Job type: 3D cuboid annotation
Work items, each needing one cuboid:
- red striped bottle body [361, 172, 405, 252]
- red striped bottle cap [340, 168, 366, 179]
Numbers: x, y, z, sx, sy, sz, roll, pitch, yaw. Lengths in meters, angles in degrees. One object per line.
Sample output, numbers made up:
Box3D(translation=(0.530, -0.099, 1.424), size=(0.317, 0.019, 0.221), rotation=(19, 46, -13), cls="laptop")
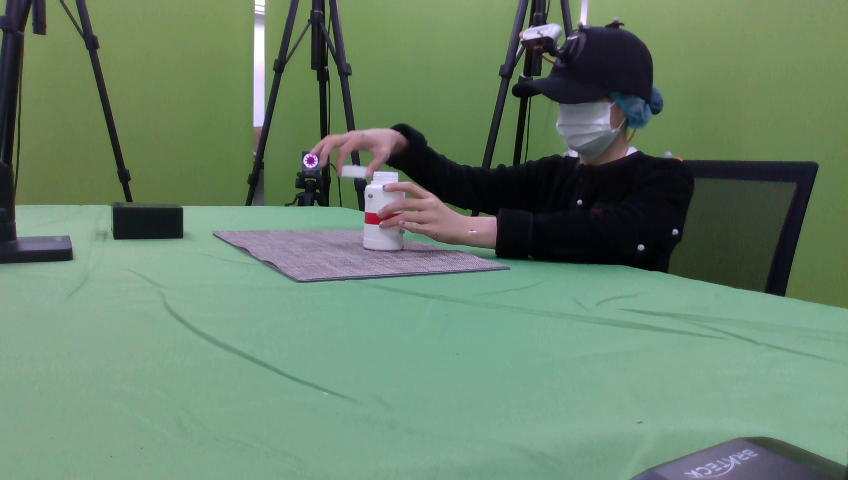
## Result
Box3D(translation=(-0.063, -0.044, 0.933), size=(0.063, 0.119, 0.063), rotation=(4, 7, 0), cls="red striped bottle body")
Box3D(translation=(-0.118, -0.110, 1.006), size=(0.044, 0.017, 0.044), rotation=(0, 4, 0), cls="red striped bottle cap")
